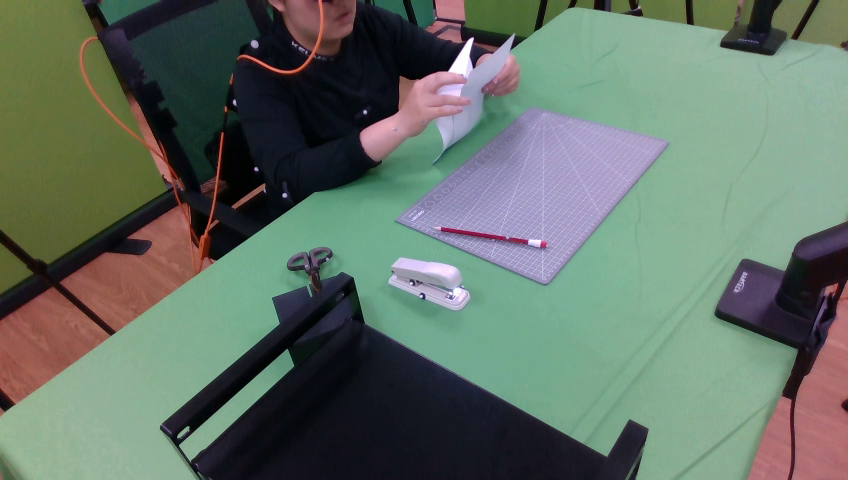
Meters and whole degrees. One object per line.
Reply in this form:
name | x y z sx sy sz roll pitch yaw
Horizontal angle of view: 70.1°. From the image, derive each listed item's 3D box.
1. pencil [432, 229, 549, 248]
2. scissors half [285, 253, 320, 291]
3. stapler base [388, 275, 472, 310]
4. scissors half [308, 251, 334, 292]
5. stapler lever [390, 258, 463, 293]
pencil | 0.103 -0.004 0.970 0.193 0.012 0.012 8 42 18
scissors half | -0.178 0.049 0.909 0.040 0.013 0.174 -17 20 -20
stapler base | 0.007 0.066 0.897 0.129 0.024 0.041 17 44 29
scissors half | -0.159 0.046 0.913 0.040 0.013 0.174 -6 18 -4
stapler lever | 0.003 0.046 0.881 0.117 0.040 0.027 17 44 29
